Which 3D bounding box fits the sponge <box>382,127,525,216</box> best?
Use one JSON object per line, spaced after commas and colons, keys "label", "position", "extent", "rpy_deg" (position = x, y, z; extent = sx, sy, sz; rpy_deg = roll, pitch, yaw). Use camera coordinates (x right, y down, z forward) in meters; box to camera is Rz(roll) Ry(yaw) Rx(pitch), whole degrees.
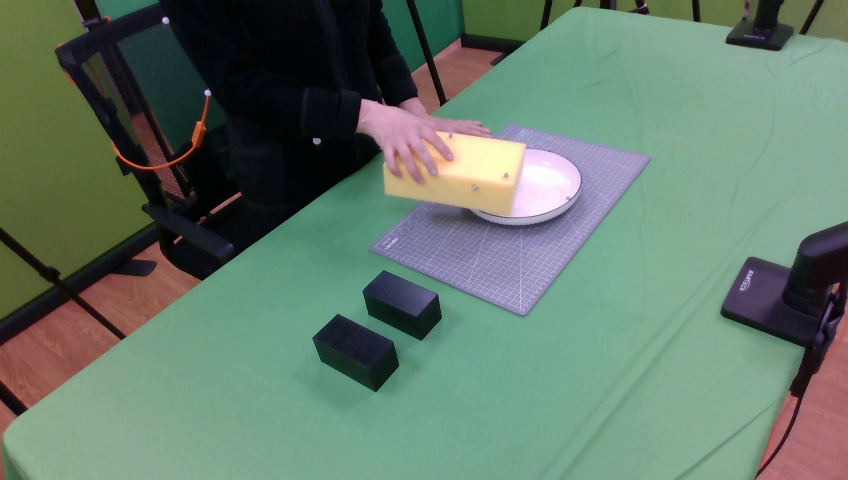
{"label": "sponge", "position": [0.049, -0.113, 0.972], "extent": [0.206, 0.061, 0.118], "rpy_deg": [11, 44, 11]}

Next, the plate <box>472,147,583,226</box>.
{"label": "plate", "position": [0.166, -0.089, 1.043], "extent": [0.209, 0.038, 0.208], "rpy_deg": [-5, 40, 5]}
